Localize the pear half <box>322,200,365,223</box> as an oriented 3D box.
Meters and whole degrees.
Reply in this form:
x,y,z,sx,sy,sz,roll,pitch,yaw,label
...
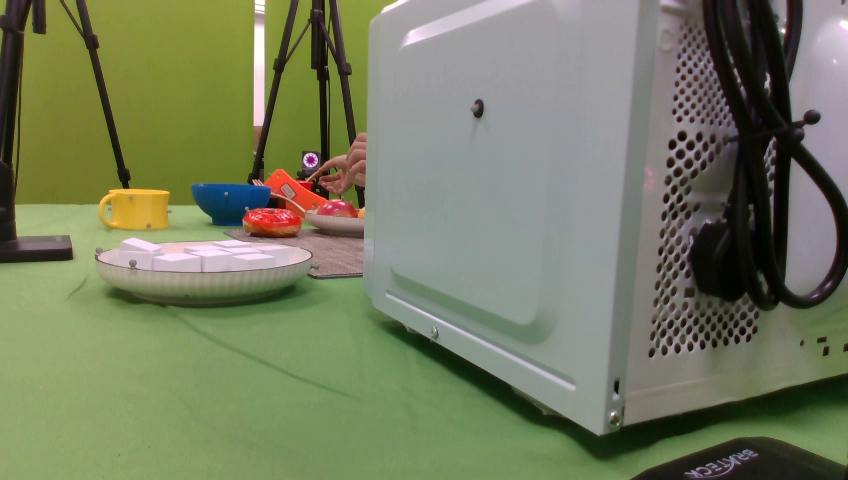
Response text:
x,y,z,sx,sy,sz,roll,pitch,yaw,label
-0.157,-0.059,1.197,0.088,0.031,0.070,13,30,-4,pear half

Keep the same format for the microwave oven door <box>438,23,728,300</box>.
x,y,z,sx,sy,sz,roll,pitch,yaw,label
0.181,-0.072,0.621,0.358,0.243,0.039,-2,8,-29,microwave oven door

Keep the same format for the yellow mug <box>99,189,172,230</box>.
x,y,z,sx,sy,sz,roll,pitch,yaw,label
-0.519,-0.055,1.080,0.099,0.064,0.131,7,10,26,yellow mug

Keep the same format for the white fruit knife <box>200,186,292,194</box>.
x,y,z,sx,sy,sz,roll,pitch,yaw,label
-0.399,-0.111,1.368,0.208,0.016,0.027,-4,-19,-30,white fruit knife

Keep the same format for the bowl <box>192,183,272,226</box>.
x,y,z,sx,sy,sz,roll,pitch,yaw,label
-0.381,-0.071,1.202,0.151,0.077,0.151,3,7,0,bowl

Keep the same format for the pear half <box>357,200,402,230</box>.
x,y,z,sx,sy,sz,roll,pitch,yaw,label
-0.075,-0.047,1.133,0.076,0.056,0.110,13,7,31,pear half

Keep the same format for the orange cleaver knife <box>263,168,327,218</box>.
x,y,z,sx,sy,sz,roll,pitch,yaw,label
-0.262,-0.088,1.353,0.211,0.077,0.012,28,13,-1,orange cleaver knife

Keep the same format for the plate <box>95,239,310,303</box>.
x,y,z,sx,sy,sz,roll,pitch,yaw,label
-0.224,0.031,0.629,0.208,0.039,0.207,2,7,0,plate

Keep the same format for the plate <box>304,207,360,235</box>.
x,y,z,sx,sy,sz,roll,pitch,yaw,label
-0.123,-0.037,1.149,0.209,0.038,0.209,2,7,0,plate

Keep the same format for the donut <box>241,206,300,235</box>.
x,y,z,sx,sy,sz,roll,pitch,yaw,label
-0.263,-0.032,1.039,0.099,0.048,0.099,4,10,0,donut

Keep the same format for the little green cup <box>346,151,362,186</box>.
x,y,z,sx,sy,sz,roll,pitch,yaw,label
-0.109,-0.126,1.075,0.061,0.038,0.061,12,-28,7,little green cup

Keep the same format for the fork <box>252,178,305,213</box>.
x,y,z,sx,sy,sz,roll,pitch,yaw,label
-0.295,-0.084,1.292,0.206,0.018,0.028,29,11,25,fork

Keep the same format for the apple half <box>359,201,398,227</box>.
x,y,z,sx,sy,sz,roll,pitch,yaw,label
-0.088,-0.058,1.190,0.081,0.033,0.081,10,29,-5,apple half

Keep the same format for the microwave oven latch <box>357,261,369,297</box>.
x,y,z,sx,sy,sz,roll,pitch,yaw,label
-0.019,0.033,0.530,0.079,0.029,0.030,-1,7,-26,microwave oven latch

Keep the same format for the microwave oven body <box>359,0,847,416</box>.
x,y,z,sx,sy,sz,roll,pitch,yaw,label
0.211,-0.047,0.474,0.444,0.260,0.324,-1,7,-28,microwave oven body

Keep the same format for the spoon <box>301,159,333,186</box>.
x,y,z,sx,sy,sz,roll,pitch,yaw,label
-0.316,-0.159,1.639,0.194,0.022,0.041,-49,30,-20,spoon

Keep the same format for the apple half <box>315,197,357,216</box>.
x,y,z,sx,sy,sz,roll,pitch,yaw,label
-0.162,-0.052,1.121,0.081,0.053,0.074,4,8,-14,apple half
